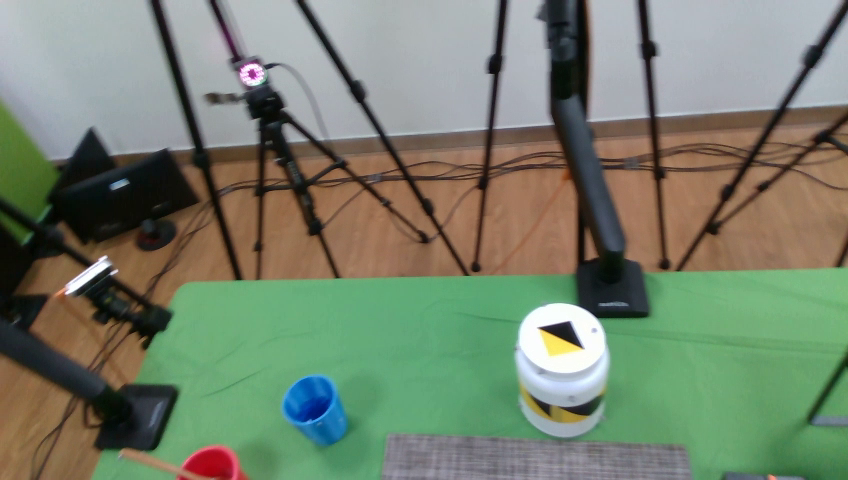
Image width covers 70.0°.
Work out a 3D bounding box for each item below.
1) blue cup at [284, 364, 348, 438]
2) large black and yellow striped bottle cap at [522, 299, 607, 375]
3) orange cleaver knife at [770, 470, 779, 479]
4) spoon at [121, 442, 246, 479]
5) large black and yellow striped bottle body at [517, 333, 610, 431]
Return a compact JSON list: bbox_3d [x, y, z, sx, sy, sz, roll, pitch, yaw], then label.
[{"bbox_3d":[-0.164,0.266,0.963,0.092,0.101,0.091,-7,47,8],"label":"blue cup"},{"bbox_3d":[0.194,0.132,0.839,0.115,0.019,0.114,-7,48,8],"label":"large black and yellow striped bottle cap"},{"bbox_3d":[0.438,0.394,0.737,0.012,0.078,0.210,-3,77,20],"label":"orange cleaver knife"},{"bbox_3d":[-0.357,0.340,0.908,0.195,0.021,0.041,32,51,-19],"label":"spoon"},{"bbox_3d":[0.206,0.188,0.902,0.130,0.186,0.129,-6,48,7],"label":"large black and yellow striped bottle body"}]
